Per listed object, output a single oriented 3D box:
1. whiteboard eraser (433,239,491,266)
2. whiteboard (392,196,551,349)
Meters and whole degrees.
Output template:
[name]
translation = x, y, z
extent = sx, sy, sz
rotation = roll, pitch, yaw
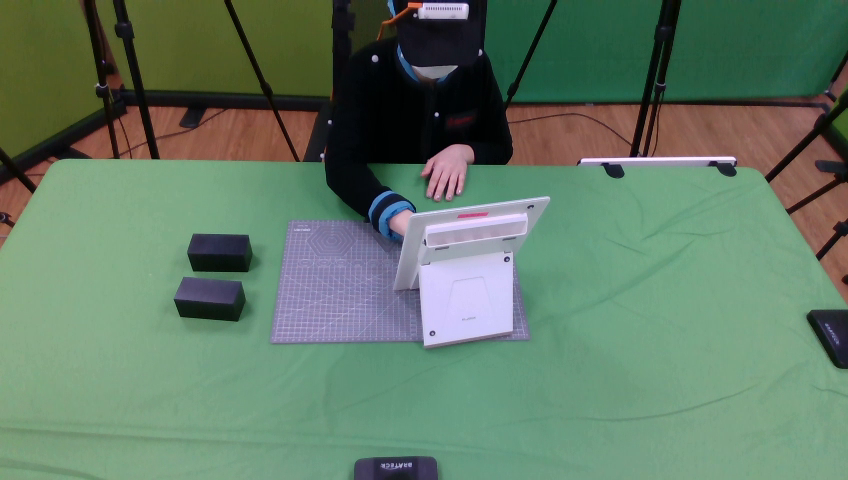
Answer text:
[whiteboard eraser]
translation = 0.064, 0.021, 1.045
extent = 0.101, 0.041, 0.018
rotation = -18, 66, 11
[whiteboard]
translation = 0.077, 0.071, 0.977
extent = 0.217, 0.306, 0.143
rotation = -7, 67, -11
